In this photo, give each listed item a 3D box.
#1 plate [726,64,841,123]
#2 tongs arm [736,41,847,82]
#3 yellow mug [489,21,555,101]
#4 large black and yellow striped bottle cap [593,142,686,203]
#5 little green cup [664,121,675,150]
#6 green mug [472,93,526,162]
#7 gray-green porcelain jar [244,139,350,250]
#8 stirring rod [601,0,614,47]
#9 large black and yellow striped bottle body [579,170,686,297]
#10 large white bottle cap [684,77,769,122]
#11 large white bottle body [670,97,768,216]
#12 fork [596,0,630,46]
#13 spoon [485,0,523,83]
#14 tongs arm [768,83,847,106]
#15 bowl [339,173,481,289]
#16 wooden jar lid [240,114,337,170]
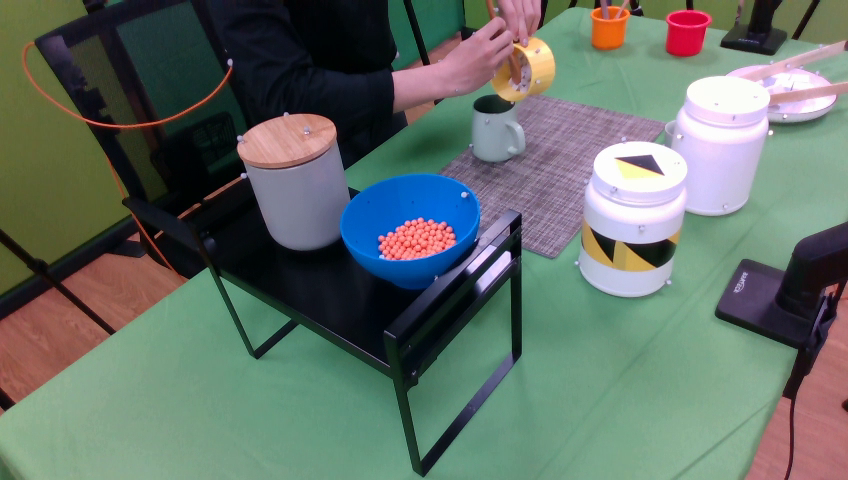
[{"bbox_3d":[0.695,-0.282,1.189,0.207,0.039,0.206,-4,40,4],"label":"plate"},{"bbox_3d":[0.712,-0.332,1.194,0.386,0.026,0.050,-19,45,-16],"label":"tongs arm"},{"bbox_3d":[0.172,-0.320,1.076,0.064,0.131,0.099,-26,27,-38],"label":"yellow mug"},{"bbox_3d":[0.280,-0.090,0.786,0.115,0.019,0.114,-5,41,5],"label":"large black and yellow striped bottle cap"},{"bbox_3d":[0.472,-0.188,1.113,0.061,0.039,0.061,-5,40,4],"label":"little green cup"},{"bbox_3d":[0.144,-0.202,1.122,0.093,0.105,0.124,-29,45,-23],"label":"green mug"},{"bbox_3d":[-0.143,-0.060,0.714,0.106,0.127,0.105,-4,41,4],"label":"gray-green porcelain jar"},{"bbox_3d":[0.439,-0.552,1.463,0.014,0.006,0.175,-7,83,3],"label":"stirring rod"},{"bbox_3d":[0.287,-0.027,0.841,0.131,0.185,0.130,-4,40,4],"label":"large black and yellow striped bottle body"},{"bbox_3d":[0.448,-0.210,0.898,0.115,0.018,0.114,-4,40,4],"label":"large white bottle cap"},{"bbox_3d":[0.458,-0.146,0.952,0.130,0.185,0.130,-4,40,4],"label":"large white bottle body"},{"bbox_3d":[0.481,-0.556,1.452,0.028,0.019,0.207,40,103,39],"label":"fork"},{"bbox_3d":[0.133,-0.332,1.011,0.021,0.195,0.041,-32,54,10],"label":"spoon"},{"bbox_3d":[0.738,-0.281,1.134,0.388,0.028,0.028,-9,47,-5],"label":"tongs arm"},{"bbox_3d":[-0.011,0.001,0.660,0.151,0.077,0.150,-5,41,5],"label":"bowl"},{"bbox_3d":[-0.149,-0.106,0.673,0.108,0.021,0.108,-6,39,5],"label":"wooden jar lid"}]
